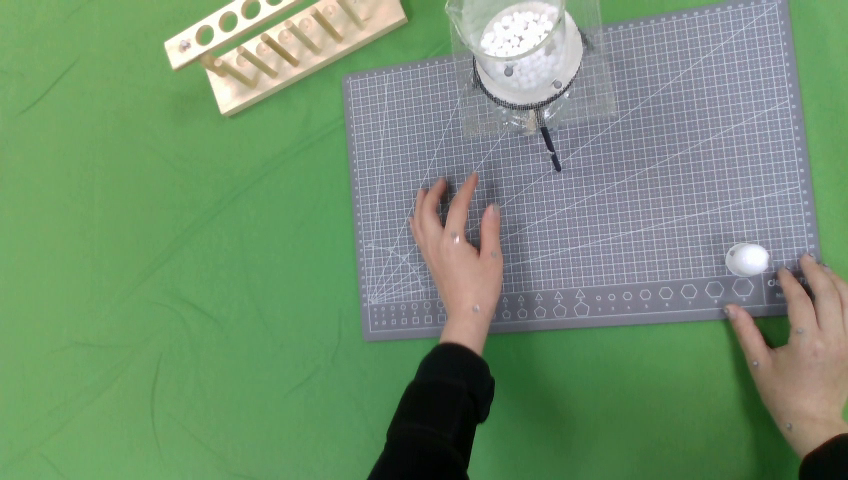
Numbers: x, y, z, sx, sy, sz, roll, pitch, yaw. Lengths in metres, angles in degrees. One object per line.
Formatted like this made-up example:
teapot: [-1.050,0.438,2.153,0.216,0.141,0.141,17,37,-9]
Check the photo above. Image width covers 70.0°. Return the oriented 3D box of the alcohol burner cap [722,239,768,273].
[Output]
alcohol burner cap: [0.292,0.013,0.547,0.034,0.048,0.034,-1,86,15]

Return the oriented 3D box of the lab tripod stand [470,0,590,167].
lab tripod stand: [0.102,-0.148,0.560,0.148,0.132,0.148,-1,88,14]

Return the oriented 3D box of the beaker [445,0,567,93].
beaker: [0.066,-0.156,0.452,0.083,0.100,0.074,8,90,16]

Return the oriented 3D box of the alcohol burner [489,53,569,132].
alcohol burner: [0.097,-0.144,0.572,0.077,0.119,0.078,-1,86,14]

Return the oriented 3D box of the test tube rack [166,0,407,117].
test tube rack: [-0.149,-0.227,0.662,0.242,0.085,0.066,-24,81,13]

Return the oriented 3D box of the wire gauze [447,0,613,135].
wire gauze: [0.084,-0.153,0.497,0.125,0.011,0.121,-7,89,13]
